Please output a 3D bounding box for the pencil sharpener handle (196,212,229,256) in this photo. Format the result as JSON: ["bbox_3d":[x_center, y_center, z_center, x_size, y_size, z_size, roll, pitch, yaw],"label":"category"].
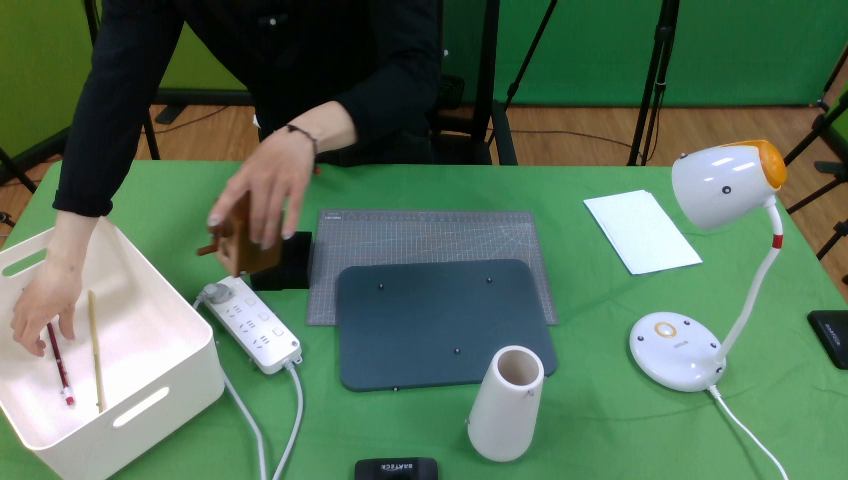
[{"bbox_3d":[-0.278,-0.005,0.788,0.031,0.068,0.036,-23,62,-40],"label":"pencil sharpener handle"}]

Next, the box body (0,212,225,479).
[{"bbox_3d":[-0.504,0.154,0.916,0.362,0.161,0.254,36,54,27],"label":"box body"}]

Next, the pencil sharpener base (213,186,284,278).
[{"bbox_3d":[-0.244,-0.009,0.828,0.077,0.107,0.061,-23,54,-40],"label":"pencil sharpener base"}]

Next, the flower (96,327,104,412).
[{"bbox_3d":[-0.514,0.209,0.959,0.044,0.038,0.359,2,37,-31],"label":"flower"}]

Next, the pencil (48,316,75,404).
[{"bbox_3d":[-0.587,0.188,0.975,0.012,0.012,0.193,-23,51,-24],"label":"pencil"}]

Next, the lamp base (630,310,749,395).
[{"bbox_3d":[0.447,0.143,0.984,0.161,0.181,0.178,-24,55,-24],"label":"lamp base"}]

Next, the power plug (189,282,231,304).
[{"bbox_3d":[-0.368,0.097,1.039,0.072,0.053,0.035,-24,56,-20],"label":"power plug"}]

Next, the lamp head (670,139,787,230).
[{"bbox_3d":[0.415,-0.079,0.812,0.113,0.123,0.112,12,70,-37],"label":"lamp head"}]

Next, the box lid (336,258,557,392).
[{"bbox_3d":[0.031,0.140,1.073,0.372,0.015,0.261,-3,47,-7],"label":"box lid"}]

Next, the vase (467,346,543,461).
[{"bbox_3d":[0.116,0.234,0.860,0.098,0.201,0.097,1,47,-1],"label":"vase"}]

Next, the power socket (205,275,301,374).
[{"bbox_3d":[-0.296,0.140,1.036,0.072,0.033,0.225,-32,57,-29],"label":"power socket"}]
